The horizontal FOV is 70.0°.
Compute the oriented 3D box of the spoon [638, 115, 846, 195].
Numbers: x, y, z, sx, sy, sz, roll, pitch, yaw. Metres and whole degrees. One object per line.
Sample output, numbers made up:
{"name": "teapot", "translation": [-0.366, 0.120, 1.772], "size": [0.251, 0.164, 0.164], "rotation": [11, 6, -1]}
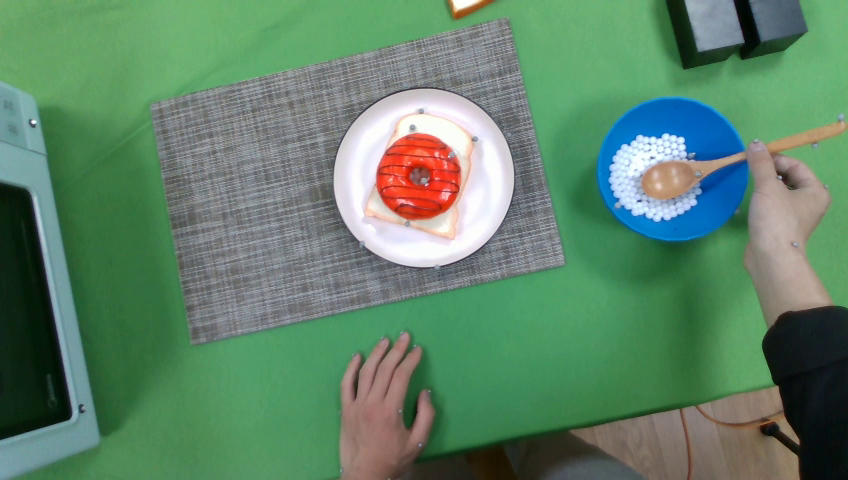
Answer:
{"name": "spoon", "translation": [0.316, -0.087, 0.615], "size": [0.193, 0.022, 0.041], "rotation": [-17, 79, 30]}

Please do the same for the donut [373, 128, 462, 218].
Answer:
{"name": "donut", "translation": [-0.007, -0.073, 0.666], "size": [0.099, 0.048, 0.099], "rotation": [0, 86, 6]}

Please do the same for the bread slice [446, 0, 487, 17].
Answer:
{"name": "bread slice", "translation": [0.052, -0.346, 0.724], "size": [0.105, 0.019, 0.131], "rotation": [-27, 85, 1]}

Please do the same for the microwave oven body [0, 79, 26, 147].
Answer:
{"name": "microwave oven body", "translation": [-0.595, 0.056, 0.623], "size": [0.326, 0.261, 0.440], "rotation": [-14, 85, 3]}

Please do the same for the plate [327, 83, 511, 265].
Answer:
{"name": "plate", "translation": [-0.005, -0.073, 0.694], "size": [0.207, 0.039, 0.207], "rotation": [0, 86, 5]}

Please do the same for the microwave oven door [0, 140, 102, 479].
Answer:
{"name": "microwave oven door", "translation": [-0.444, 0.060, 0.605], "size": [0.039, 0.244, 0.355], "rotation": [-15, 84, 4]}

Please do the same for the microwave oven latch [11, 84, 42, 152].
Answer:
{"name": "microwave oven latch", "translation": [-0.485, -0.143, 0.726], "size": [0.030, 0.029, 0.079], "rotation": [-14, 85, 3]}

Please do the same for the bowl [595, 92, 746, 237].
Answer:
{"name": "bowl", "translation": [0.255, -0.074, 0.656], "size": [0.151, 0.077, 0.151], "rotation": [0, 85, 4]}

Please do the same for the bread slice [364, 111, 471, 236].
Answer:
{"name": "bread slice", "translation": [-0.004, -0.080, 0.695], "size": [0.107, 0.018, 0.134], "rotation": [12, 87, 5]}
